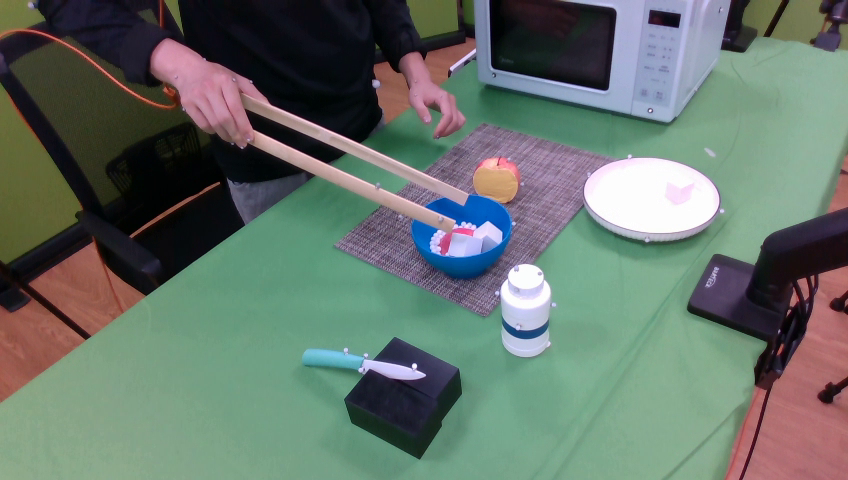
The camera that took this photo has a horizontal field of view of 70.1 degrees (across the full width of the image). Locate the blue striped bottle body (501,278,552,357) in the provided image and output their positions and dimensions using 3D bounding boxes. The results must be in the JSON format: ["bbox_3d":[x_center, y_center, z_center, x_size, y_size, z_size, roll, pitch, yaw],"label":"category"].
[{"bbox_3d":[0.130,0.089,0.769,0.063,0.121,0.063,-4,41,4],"label":"blue striped bottle body"}]

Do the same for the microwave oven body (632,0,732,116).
[{"bbox_3d":[0.377,-0.462,1.267,0.438,0.261,0.327,21,48,30],"label":"microwave oven body"}]

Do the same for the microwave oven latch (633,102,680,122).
[{"bbox_3d":[0.444,-0.249,1.157,0.078,0.029,0.030,21,48,30],"label":"microwave oven latch"}]

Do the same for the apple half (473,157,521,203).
[{"bbox_3d":[0.127,-0.106,1.030,0.080,0.075,0.053,4,36,19],"label":"apple half"}]

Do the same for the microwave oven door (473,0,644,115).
[{"bbox_3d":[0.257,-0.396,1.199,0.353,0.245,0.039,21,48,29],"label":"microwave oven door"}]

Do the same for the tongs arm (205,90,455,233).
[{"bbox_3d":[-0.131,-0.107,0.829,0.385,0.026,0.050,23,48,0],"label":"tongs arm"}]

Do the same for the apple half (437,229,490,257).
[{"bbox_3d":[0.055,0.003,0.901,0.081,0.033,0.081,-2,40,2],"label":"apple half"}]

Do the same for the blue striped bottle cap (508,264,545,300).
[{"bbox_3d":[0.125,0.050,0.735,0.044,0.021,0.044,-5,39,5],"label":"blue striped bottle cap"}]

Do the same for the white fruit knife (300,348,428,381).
[{"bbox_3d":[-0.079,0.154,0.748,0.206,0.027,0.016,1,20,34],"label":"white fruit knife"}]

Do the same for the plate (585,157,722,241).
[{"bbox_3d":[0.367,-0.063,0.979,0.207,0.039,0.206,-4,40,4],"label":"plate"}]

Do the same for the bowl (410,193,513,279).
[{"bbox_3d":[0.058,0.005,0.905,0.151,0.077,0.150,-4,40,4],"label":"bowl"}]

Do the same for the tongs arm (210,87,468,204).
[{"bbox_3d":[-0.118,-0.133,0.856,0.388,0.028,0.028,23,52,-1],"label":"tongs arm"}]
